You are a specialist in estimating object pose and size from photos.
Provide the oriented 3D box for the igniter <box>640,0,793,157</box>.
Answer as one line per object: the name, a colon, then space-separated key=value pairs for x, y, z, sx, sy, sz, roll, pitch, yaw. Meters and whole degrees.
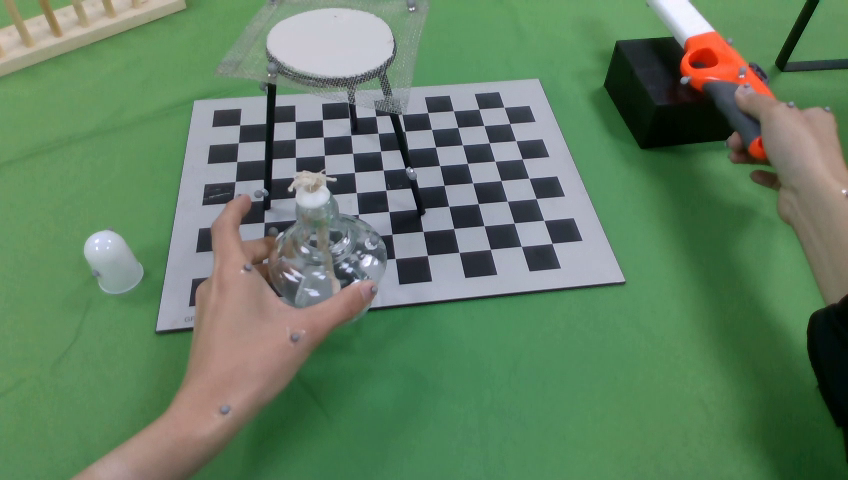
igniter: x=0.245 y=-0.169 z=0.537 sx=0.057 sy=0.025 sz=0.273 roll=-14 pitch=50 yaw=3

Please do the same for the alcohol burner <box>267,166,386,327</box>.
alcohol burner: x=-0.065 y=0.002 z=0.389 sx=0.078 sy=0.120 sz=0.077 roll=-1 pitch=48 yaw=2

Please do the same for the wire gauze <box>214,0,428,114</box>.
wire gauze: x=-0.064 y=-0.135 z=0.413 sx=0.125 sy=0.011 sz=0.120 roll=9 pitch=50 yaw=4

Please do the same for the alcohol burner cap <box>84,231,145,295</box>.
alcohol burner cap: x=-0.226 y=0.014 z=0.437 sx=0.034 sy=0.048 sz=0.033 roll=2 pitch=50 yaw=-2

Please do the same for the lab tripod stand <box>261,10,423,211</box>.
lab tripod stand: x=-0.062 y=-0.094 z=0.468 sx=0.148 sy=0.132 sz=0.147 roll=2 pitch=49 yaw=-2

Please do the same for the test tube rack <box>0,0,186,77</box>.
test tube rack: x=-0.383 y=-0.250 z=0.623 sx=0.242 sy=0.086 sz=0.066 roll=-34 pitch=59 yaw=-26
